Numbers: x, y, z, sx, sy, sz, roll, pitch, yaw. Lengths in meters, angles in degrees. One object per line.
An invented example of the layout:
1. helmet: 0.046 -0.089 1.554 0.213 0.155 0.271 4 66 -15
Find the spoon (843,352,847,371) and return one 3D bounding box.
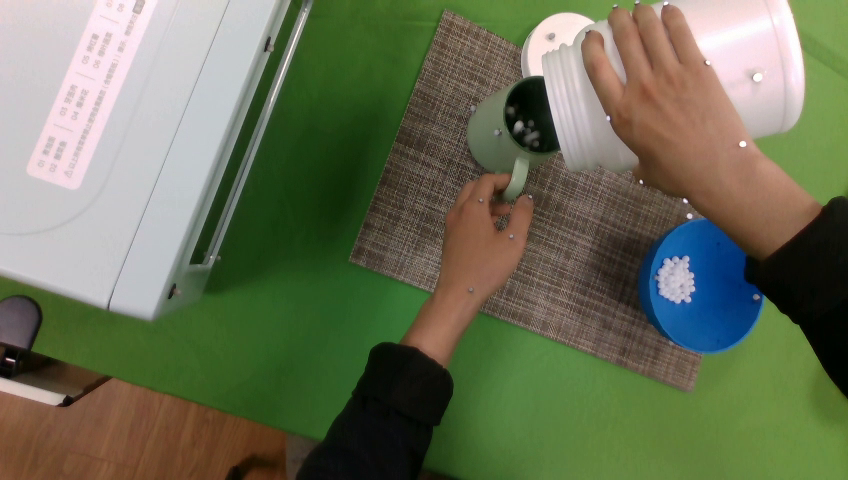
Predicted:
1. spoon: 0.617 0.208 0.752 0.041 0.191 0.022 -32 140 -18

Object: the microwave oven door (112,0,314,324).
1. microwave oven door: -0.149 -0.113 0.491 0.039 0.243 0.355 20 83 -13

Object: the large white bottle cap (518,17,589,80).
1. large white bottle cap: 0.165 -0.201 0.705 0.115 0.018 0.114 2 84 -16

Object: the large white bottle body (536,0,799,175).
1. large white bottle body: 0.198 -0.130 0.519 0.184 0.131 0.130 -13 91 18

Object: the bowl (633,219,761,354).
1. bowl: 0.300 0.053 0.703 0.152 0.076 0.151 1 88 -14

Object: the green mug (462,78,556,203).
1. green mug: 0.092 -0.101 0.639 0.093 0.104 0.125 13 85 -15

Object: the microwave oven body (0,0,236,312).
1. microwave oven body: -0.271 -0.203 0.466 0.327 0.259 0.440 21 84 -14
